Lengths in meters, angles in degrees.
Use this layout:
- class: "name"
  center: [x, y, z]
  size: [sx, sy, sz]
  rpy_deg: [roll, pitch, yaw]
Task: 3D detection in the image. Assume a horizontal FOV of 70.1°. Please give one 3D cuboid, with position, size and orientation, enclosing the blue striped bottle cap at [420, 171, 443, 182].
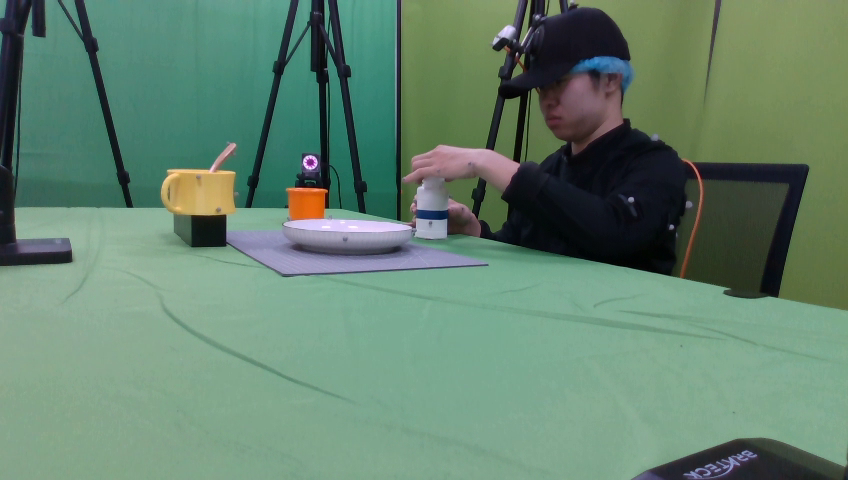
- class: "blue striped bottle cap"
  center: [0.015, -0.121, 1.159]
  size: [0.044, 0.020, 0.044]
  rpy_deg: [3, 7, 0]

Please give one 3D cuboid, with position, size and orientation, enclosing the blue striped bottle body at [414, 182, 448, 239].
- class: "blue striped bottle body"
  center: [0.014, -0.065, 1.166]
  size: [0.063, 0.120, 0.063]
  rpy_deg: [2, 8, 0]

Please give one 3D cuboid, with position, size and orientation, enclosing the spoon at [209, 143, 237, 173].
- class: "spoon"
  center: [-0.341, -0.113, 0.990]
  size: [0.041, 0.021, 0.193]
  rpy_deg: [1, 40, 6]

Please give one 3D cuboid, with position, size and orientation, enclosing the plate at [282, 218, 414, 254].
- class: "plate"
  center: [-0.121, -0.007, 0.971]
  size: [0.208, 0.039, 0.207]
  rpy_deg: [2, 7, 0]

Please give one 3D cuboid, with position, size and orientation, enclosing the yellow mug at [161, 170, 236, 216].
- class: "yellow mug"
  center: [-0.354, -0.074, 0.935]
  size: [0.099, 0.064, 0.131]
  rpy_deg: [5, 9, 21]
